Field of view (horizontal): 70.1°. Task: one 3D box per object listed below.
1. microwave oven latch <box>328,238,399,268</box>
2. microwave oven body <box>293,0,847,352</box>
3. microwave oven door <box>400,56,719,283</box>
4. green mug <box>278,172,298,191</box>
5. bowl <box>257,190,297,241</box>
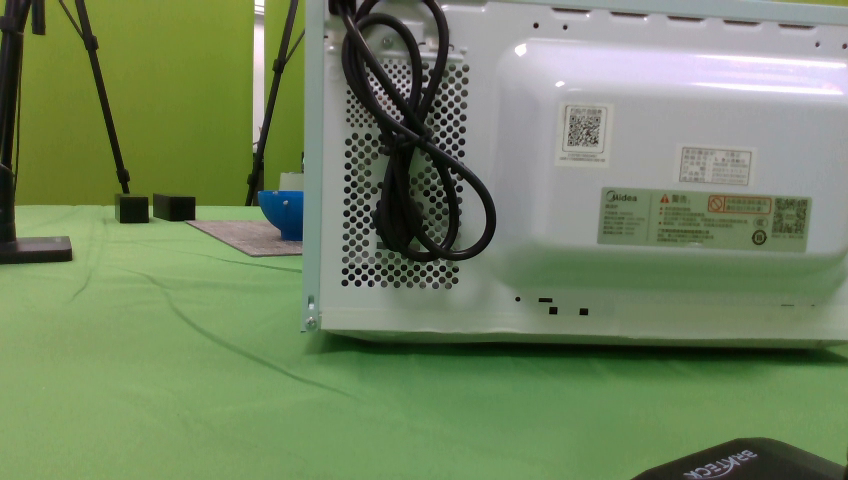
[{"bbox_3d":[-0.069,0.015,0.694,0.079,0.029,0.030,3,7,-3],"label":"microwave oven latch"},{"bbox_3d":[0.122,-0.055,0.550,0.442,0.260,0.325,3,7,-5],"label":"microwave oven body"},{"bbox_3d":[0.155,-0.077,0.698,0.356,0.243,0.039,2,8,-5],"label":"microwave oven door"},{"bbox_3d":[-0.250,-0.089,1.279,0.092,0.105,0.126,9,9,40],"label":"green mug"},{"bbox_3d":[-0.206,-0.041,1.027,0.151,0.077,0.151,3,8,0],"label":"bowl"}]
